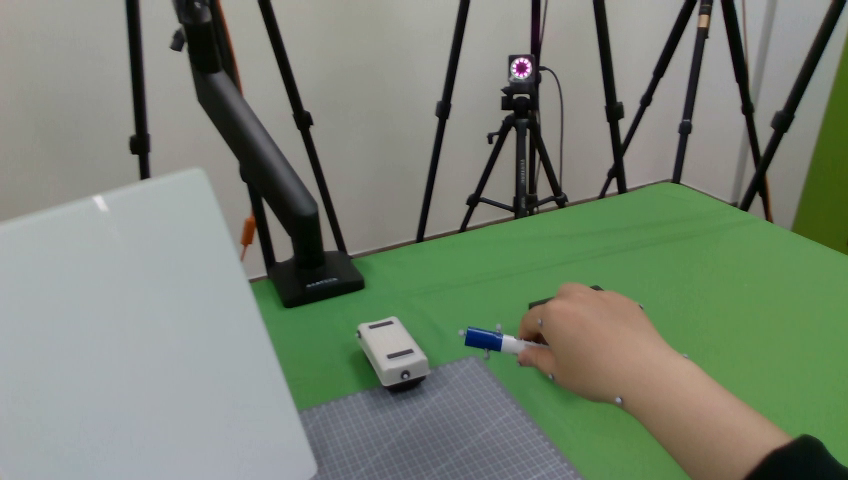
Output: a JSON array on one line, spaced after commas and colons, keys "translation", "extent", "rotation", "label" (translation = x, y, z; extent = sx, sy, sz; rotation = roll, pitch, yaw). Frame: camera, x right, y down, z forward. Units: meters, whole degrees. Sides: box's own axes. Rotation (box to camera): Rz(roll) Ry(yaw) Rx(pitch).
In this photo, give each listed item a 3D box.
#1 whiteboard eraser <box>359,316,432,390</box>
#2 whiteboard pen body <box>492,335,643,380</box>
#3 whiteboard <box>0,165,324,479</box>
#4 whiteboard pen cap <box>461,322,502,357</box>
[{"translation": [-0.036, 0.131, 0.705], "extent": [0.056, 0.042, 0.111], "rotation": [-14, 25, -18], "label": "whiteboard eraser"}, {"translation": [0.109, 0.095, 0.503], "extent": [0.140, 0.017, 0.017], "rotation": [10, 28, 8], "label": "whiteboard pen body"}, {"translation": [-0.256, 0.116, 0.523], "extent": [0.217, 0.306, 0.143], "rotation": [-26, 16, -38], "label": "whiteboard"}, {"translation": [0.048, 0.084, 0.510], "extent": [0.033, 0.018, 0.018], "rotation": [-30, 32, -9], "label": "whiteboard pen cap"}]
